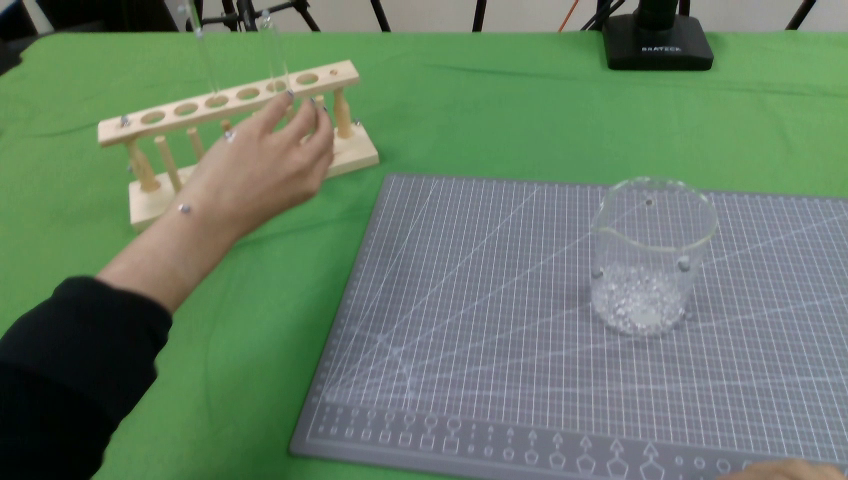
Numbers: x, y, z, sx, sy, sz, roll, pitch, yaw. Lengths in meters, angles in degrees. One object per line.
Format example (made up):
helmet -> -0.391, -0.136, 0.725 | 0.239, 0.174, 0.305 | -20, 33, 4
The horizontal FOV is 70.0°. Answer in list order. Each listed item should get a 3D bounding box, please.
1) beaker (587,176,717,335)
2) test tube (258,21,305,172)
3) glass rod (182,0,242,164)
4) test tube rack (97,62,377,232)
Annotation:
beaker -> 0.158, 0.015, 0.443 | 0.084, 0.101, 0.073 | -8, 45, -2
test tube -> -0.130, -0.127, 0.560 | 0.017, 0.151, 0.017 | -1, 43, 2
glass rod -> -0.191, -0.140, 0.548 | 0.008, 0.201, 0.008 | 0, 49, 1
test tube rack -> -0.175, -0.093, 0.594 | 0.243, 0.086, 0.066 | -18, 46, -13
